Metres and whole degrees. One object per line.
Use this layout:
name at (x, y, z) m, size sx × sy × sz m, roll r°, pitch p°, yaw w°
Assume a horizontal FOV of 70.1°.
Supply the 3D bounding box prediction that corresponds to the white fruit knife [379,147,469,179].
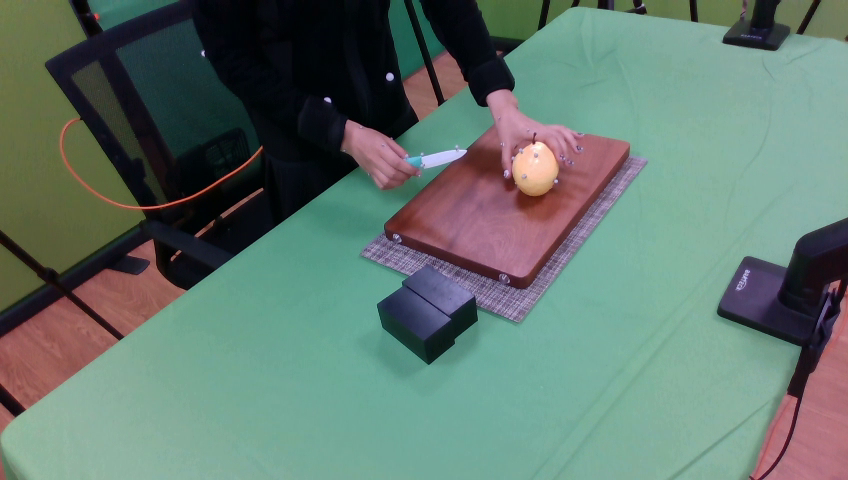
white fruit knife at (-0.005, -0.127, 0.981) m, size 0.206 × 0.027 × 0.016 m, roll -8°, pitch 39°, yaw 44°

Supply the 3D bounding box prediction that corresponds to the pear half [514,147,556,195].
pear half at (0.178, -0.106, 0.977) m, size 0.070 × 0.088 × 0.031 m, roll 8°, pitch 43°, yaw 12°

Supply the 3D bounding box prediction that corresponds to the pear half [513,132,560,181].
pear half at (0.187, -0.136, 0.996) m, size 0.076 × 0.110 × 0.056 m, roll 7°, pitch 43°, yaw 13°
